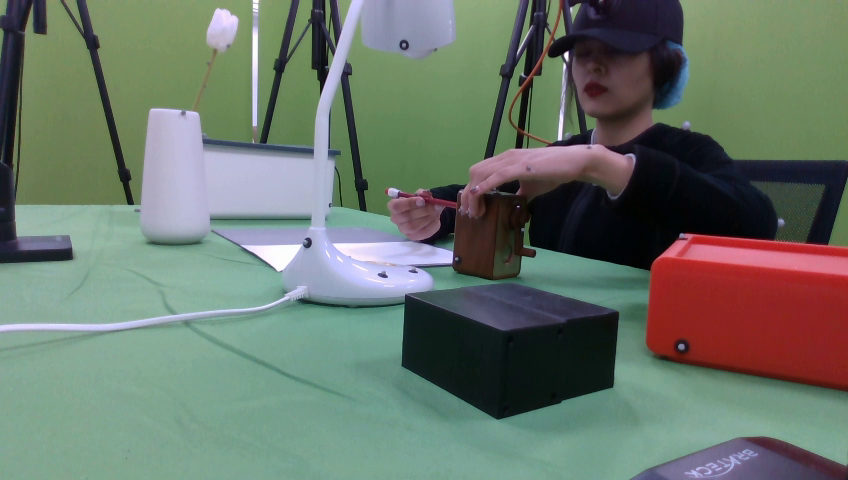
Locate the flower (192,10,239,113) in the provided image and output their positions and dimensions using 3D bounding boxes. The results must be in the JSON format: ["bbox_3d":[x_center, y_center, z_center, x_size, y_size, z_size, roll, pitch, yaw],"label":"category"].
[{"bbox_3d":[-0.354,-0.174,0.915,0.038,0.361,0.044,18,-3,12],"label":"flower"}]

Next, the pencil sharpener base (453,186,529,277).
[{"bbox_3d":[0.086,-0.012,0.764,0.076,0.107,0.062,12,11,44],"label":"pencil sharpener base"}]

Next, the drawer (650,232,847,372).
[{"bbox_3d":[0.303,0.044,0.499,0.194,0.073,0.212,6,9,27],"label":"drawer"}]

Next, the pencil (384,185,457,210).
[{"bbox_3d":[0.010,-0.054,0.826,0.012,0.012,0.193,-5,17,-44],"label":"pencil"}]

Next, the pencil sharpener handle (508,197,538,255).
[{"bbox_3d":[0.124,-0.016,0.728,0.030,0.067,0.036,12,16,44],"label":"pencil sharpener handle"}]

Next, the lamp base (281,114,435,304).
[{"bbox_3d":[-0.071,-0.035,0.614,0.160,0.180,0.180,6,10,27],"label":"lamp base"}]

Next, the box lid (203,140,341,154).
[{"bbox_3d":[-0.396,-0.212,1.373,0.373,0.015,0.262,-1,9,-29],"label":"box lid"}]

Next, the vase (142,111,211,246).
[{"bbox_3d":[-0.378,-0.093,0.920,0.098,0.200,0.098,2,9,0],"label":"vase"}]

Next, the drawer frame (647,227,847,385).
[{"bbox_3d":[0.303,0.043,0.495,0.201,0.082,0.214,6,9,26],"label":"drawer frame"}]

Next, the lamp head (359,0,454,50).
[{"bbox_3d":[-0.024,-0.283,0.674,0.112,0.123,0.112,-3,38,3],"label":"lamp head"}]

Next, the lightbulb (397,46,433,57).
[{"bbox_3d":[-0.018,-0.265,0.692,0.059,0.108,0.059,-10,28,6],"label":"lightbulb"}]

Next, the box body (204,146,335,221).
[{"bbox_3d":[-0.411,-0.135,1.386,0.366,0.160,0.253,-2,9,-29],"label":"box body"}]
